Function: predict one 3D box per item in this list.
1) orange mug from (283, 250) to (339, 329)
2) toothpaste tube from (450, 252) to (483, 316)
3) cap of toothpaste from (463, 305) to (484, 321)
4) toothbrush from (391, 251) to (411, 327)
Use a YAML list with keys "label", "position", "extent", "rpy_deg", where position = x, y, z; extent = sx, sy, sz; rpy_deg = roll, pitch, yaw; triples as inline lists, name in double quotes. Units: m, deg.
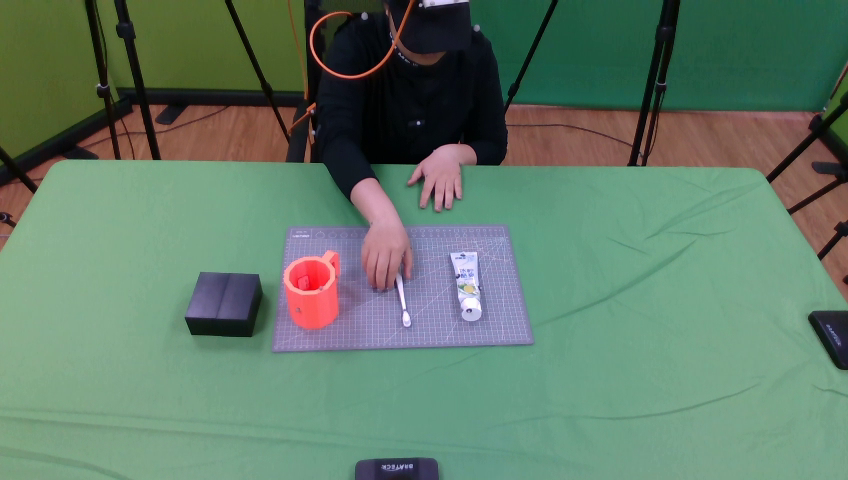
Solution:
- label: "orange mug"
  position: [-0.186, 0.079, 1.052]
  extent: [0.083, 0.101, 0.126]
  rpy_deg: [20, 52, 15]
- label: "toothpaste tube"
  position: [0.084, 0.077, 1.122]
  extent: [0.055, 0.035, 0.164]
  rpy_deg: [3, 41, -8]
- label: "cap of toothpaste"
  position: [0.087, 0.128, 1.064]
  extent: [0.037, 0.037, 0.011]
  rpy_deg: [2, 40, -1]
- label: "toothbrush"
  position: [-0.044, 0.085, 1.112]
  extent: [0.014, 0.017, 0.180]
  rpy_deg: [-13, 46, -1]
